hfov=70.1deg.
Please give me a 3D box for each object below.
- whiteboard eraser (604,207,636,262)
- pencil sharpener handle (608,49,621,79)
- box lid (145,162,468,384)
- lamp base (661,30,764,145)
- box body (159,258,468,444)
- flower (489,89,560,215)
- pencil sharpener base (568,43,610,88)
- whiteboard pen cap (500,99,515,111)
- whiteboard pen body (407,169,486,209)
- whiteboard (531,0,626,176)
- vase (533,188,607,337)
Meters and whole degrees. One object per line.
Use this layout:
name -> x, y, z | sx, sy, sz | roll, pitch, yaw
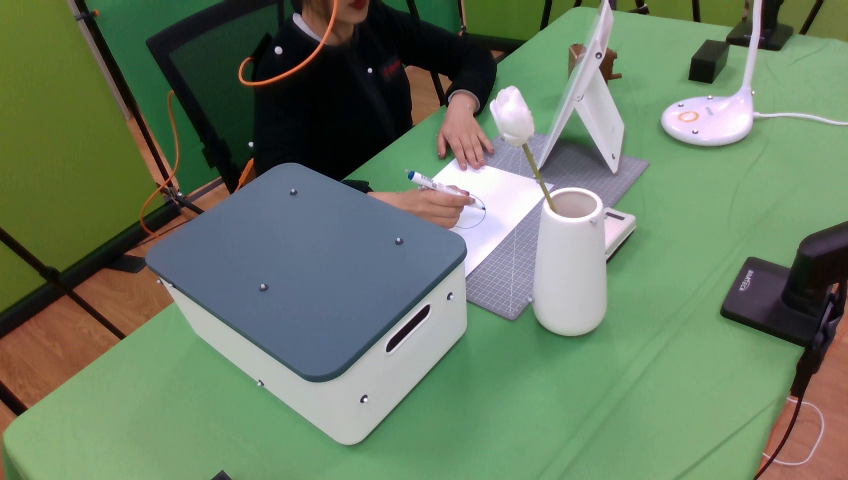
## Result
whiteboard eraser -> 0.272, -0.003, 0.920 | 0.055, 0.042, 0.113 | 26, 51, 33
pencil sharpener handle -> 0.394, -0.368, 1.253 | 0.030, 0.068, 0.036 | -8, 32, 1
box lid -> -0.157, 0.014, 0.770 | 0.368, 0.015, 0.264 | 25, 51, 33
lamp base -> 0.535, -0.287, 1.096 | 0.179, 0.181, 0.159 | -10, 40, -4
box body -> -0.147, 0.072, 0.816 | 0.361, 0.161, 0.255 | 24, 50, 33
flower -> 0.159, -0.027, 0.720 | 0.038, 0.364, 0.044 | -15, 44, 23
pencil sharpener base -> 0.345, -0.352, 1.263 | 0.077, 0.107, 0.061 | -8, 40, 1
whiteboard pen cap -> 0.177, -0.287, 1.290 | 0.033, 0.018, 0.018 | -37, 47, -26
whiteboard pen body -> 0.038, -0.078, 0.954 | 0.141, 0.017, 0.017 | 23, 37, -18
whiteboard -> 0.320, -0.259, 1.051 | 0.144, 0.306, 0.217 | 22, 45, 6
vase -> 0.187, 0.033, 0.771 | 0.098, 0.201, 0.097 | -6, 41, 6
